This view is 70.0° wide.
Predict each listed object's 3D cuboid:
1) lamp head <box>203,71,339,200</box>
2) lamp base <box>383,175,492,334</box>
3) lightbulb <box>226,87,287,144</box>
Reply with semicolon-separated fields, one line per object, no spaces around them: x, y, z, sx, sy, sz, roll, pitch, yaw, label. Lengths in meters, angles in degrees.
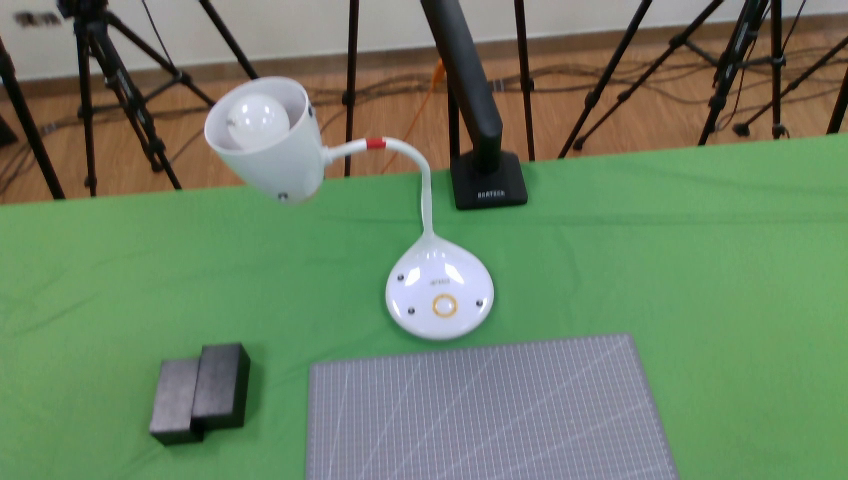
-0.157;-0.104;0.659;0.112;0.124;0.111;-10;55;14;lamp head
0.012;0.012;0.836;0.161;0.182;0.177;-16;52;-10;lamp base
-0.166;-0.113;0.637;0.059;0.109;0.059;-5;59;8;lightbulb
